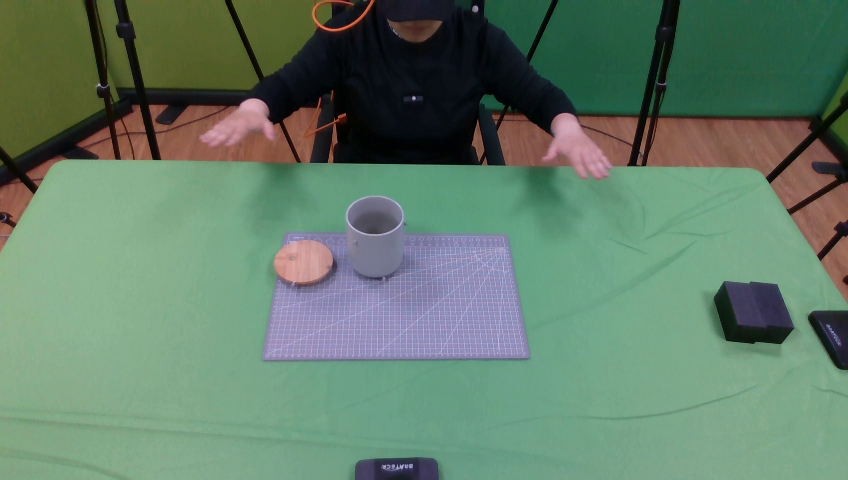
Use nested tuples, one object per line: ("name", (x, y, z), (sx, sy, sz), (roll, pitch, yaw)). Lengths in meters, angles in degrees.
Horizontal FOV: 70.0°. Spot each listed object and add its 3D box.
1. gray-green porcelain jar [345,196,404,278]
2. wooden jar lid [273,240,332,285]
("gray-green porcelain jar", (-0.091, -0.001, 1.117), (0.106, 0.127, 0.105), (2, 46, -2))
("wooden jar lid", (-0.227, 0.044, 1.137), (0.108, 0.021, 0.107), (3, 47, -3))
